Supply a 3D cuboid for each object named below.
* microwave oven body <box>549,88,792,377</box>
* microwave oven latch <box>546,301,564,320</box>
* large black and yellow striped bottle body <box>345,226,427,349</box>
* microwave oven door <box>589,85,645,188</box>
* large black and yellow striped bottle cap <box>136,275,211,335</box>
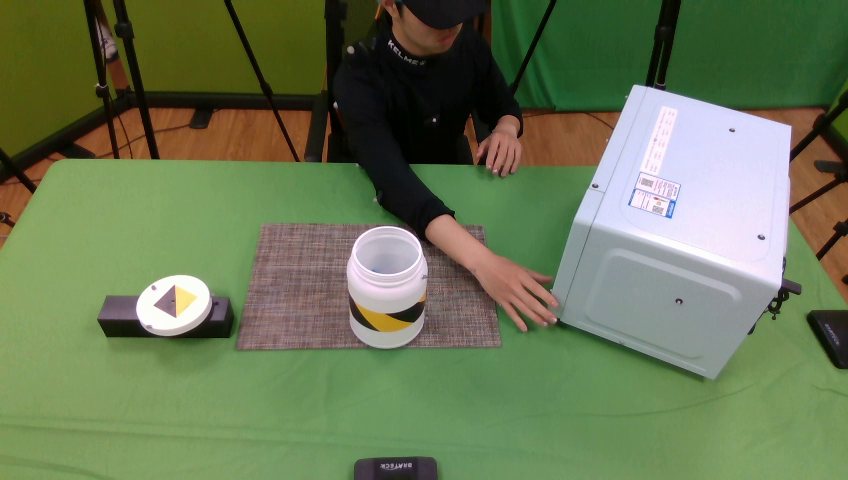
[{"bbox_3d":[0.456,-0.028,1.088,0.325,0.261,0.440,20,47,16],"label":"microwave oven body"},{"bbox_3d":[0.245,0.105,1.078,0.030,0.029,0.079,28,50,23],"label":"microwave oven latch"},{"bbox_3d":[-0.062,0.078,0.998,0.131,0.185,0.130,2,46,-2],"label":"large black and yellow striped bottle body"},{"bbox_3d":[0.341,-0.107,1.149,0.039,0.245,0.354,20,48,15],"label":"microwave oven door"},{"bbox_3d":[-0.412,0.105,0.999,0.115,0.019,0.114,3,46,-3],"label":"large black and yellow striped bottle cap"}]
